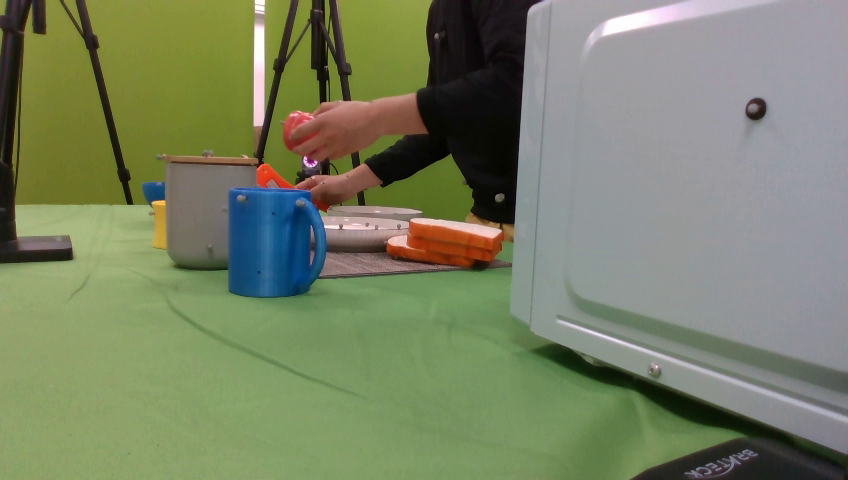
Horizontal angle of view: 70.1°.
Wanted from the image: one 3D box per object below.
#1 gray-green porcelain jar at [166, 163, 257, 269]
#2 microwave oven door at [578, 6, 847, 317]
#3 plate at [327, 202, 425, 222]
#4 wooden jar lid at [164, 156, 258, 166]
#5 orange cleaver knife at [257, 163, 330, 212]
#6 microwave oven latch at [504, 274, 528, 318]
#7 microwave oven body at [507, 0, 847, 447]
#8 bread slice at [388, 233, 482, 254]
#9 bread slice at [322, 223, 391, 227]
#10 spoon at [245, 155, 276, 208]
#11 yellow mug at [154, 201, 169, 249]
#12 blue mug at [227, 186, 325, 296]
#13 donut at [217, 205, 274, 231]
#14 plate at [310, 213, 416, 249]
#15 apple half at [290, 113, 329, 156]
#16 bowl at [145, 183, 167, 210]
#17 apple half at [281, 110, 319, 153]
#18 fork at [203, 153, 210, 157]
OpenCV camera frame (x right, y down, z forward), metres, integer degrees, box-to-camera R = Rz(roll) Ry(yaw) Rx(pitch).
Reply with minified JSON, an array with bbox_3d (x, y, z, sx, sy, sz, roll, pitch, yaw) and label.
[{"bbox_3d":[-0.263,-0.031,0.754,0.106,0.126,0.106,2,7,0],"label":"gray-green porcelain jar"},{"bbox_3d":[0.294,-0.067,0.570,0.358,0.243,0.039,-3,9,-31],"label":"microwave oven door"},{"bbox_3d":[-0.102,-0.053,1.299,0.209,0.038,0.209,2,9,0],"label":"plate"},{"bbox_3d":[-0.261,-0.093,0.746,0.108,0.020,0.108,1,9,0],"label":"wooden jar lid"},{"bbox_3d":[-0.290,-0.095,1.330,0.212,0.077,0.012,31,-13,-38],"label":"orange cleaver knife"},{"bbox_3d":[0.100,0.041,0.471,0.079,0.029,0.030,-1,8,-28],"label":"microwave oven latch"},{"bbox_3d":[0.331,-0.042,0.425,0.444,0.260,0.324,-2,8,-31],"label":"microwave oven body"},{"bbox_3d":[0.016,0.005,0.864,0.131,0.019,0.105,4,5,9],"label":"bread slice"},{"bbox_3d":[-0.116,-0.014,0.975,0.135,0.018,0.106,-4,10,-42],"label":"bread slice"},{"bbox_3d":[-0.421,-0.150,1.540,0.042,0.193,0.021,-5,-35,-37],"label":"spoon"},{"bbox_3d":[-0.337,-0.022,0.899,0.130,0.064,0.100,8,9,34],"label":"yellow mug"},{"bbox_3d":[-0.146,0.000,0.618,0.116,0.106,0.083,7,9,32],"label":"blue mug"},{"bbox_3d":[-0.318,-0.038,1.080,0.099,0.048,0.099,3,7,0],"label":"donut"},{"bbox_3d":[-0.117,-0.014,0.967,0.208,0.039,0.207,2,7,0],"label":"plate"},{"bbox_3d":[-0.193,-0.180,1.052,0.082,0.081,0.032,-6,21,-44],"label":"apple half"},{"bbox_3d":[-0.459,-0.069,1.175,0.151,0.077,0.151,2,7,0],"label":"bowl"},{"bbox_3d":[-0.220,-0.193,1.077,0.081,0.074,0.053,-4,20,-45],"label":"apple half"},{"bbox_3d":[-0.480,-0.135,1.411,0.028,0.018,0.207,1,-34,0],"label":"fork"}]
